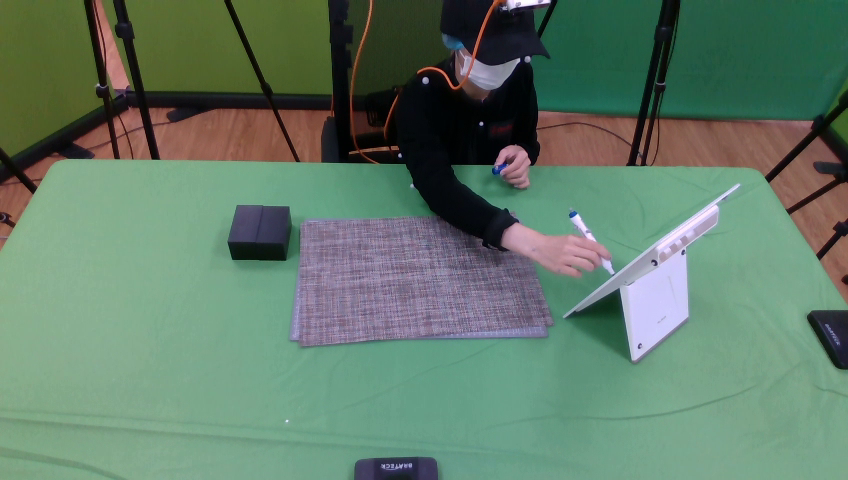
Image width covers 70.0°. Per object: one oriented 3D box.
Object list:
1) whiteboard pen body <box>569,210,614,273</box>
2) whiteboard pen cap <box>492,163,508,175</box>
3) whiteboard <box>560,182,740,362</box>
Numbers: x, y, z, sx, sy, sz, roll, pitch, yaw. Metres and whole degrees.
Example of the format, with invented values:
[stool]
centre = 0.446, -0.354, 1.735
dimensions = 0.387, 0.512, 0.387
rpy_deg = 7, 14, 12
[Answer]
[whiteboard pen body]
centre = 0.291, 0.007, 1.041
dimensions = 0.141, 0.017, 0.017
rpy_deg = 53, 53, -11
[whiteboard pen cap]
centre = 0.162, -0.154, 1.303
dimensions = 0.033, 0.018, 0.018
rpy_deg = -24, 52, -15
[whiteboard]
centre = 0.406, 0.075, 1.001
dimensions = 0.217, 0.306, 0.143
rpy_deg = -28, 73, -28
